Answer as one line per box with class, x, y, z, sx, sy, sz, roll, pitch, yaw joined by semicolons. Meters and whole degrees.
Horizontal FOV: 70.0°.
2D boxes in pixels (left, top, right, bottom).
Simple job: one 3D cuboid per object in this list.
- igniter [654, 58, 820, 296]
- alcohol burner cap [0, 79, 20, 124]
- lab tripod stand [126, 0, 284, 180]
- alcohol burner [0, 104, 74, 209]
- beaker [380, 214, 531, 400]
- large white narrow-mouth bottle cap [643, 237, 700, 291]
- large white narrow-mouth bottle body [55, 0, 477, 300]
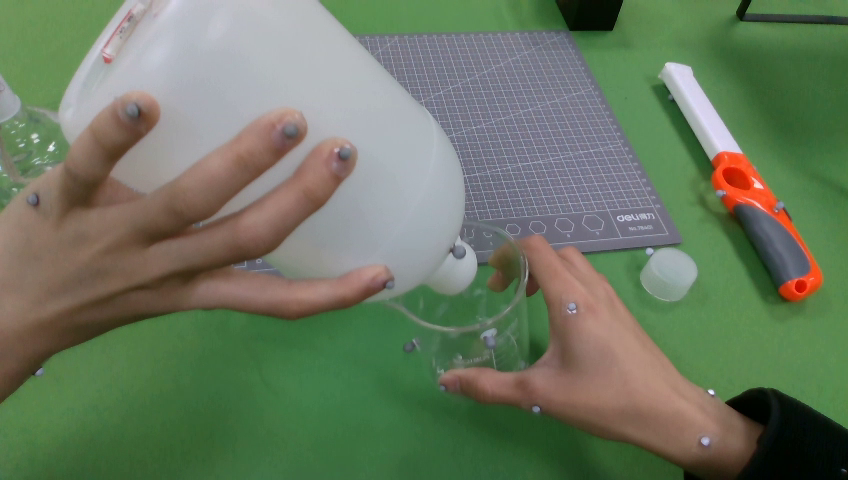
igniter;0.265;-0.068;0.529;0.057;0.025;0.273;3;51;-17
alcohol burner cap;-0.291;-0.100;0.392;0.034;0.048;0.033;2;58;-3
lab tripod stand;-0.166;-0.140;0.467;0.148;0.132;0.147;4;52;-5
alcohol burner;-0.294;-0.079;0.421;0.078;0.120;0.077;4;50;-4
beaker;0.024;0.046;0.361;0.084;0.101;0.073;-17;50;-2
large white narrow-mouth bottle cap;0.187;0.018;0.457;0.038;0.024;0.037;3;52;-3
large white narrow-mouth bottle body;-0.043;-0.029;0.271;0.101;0.197;0.101;-25;46;29
